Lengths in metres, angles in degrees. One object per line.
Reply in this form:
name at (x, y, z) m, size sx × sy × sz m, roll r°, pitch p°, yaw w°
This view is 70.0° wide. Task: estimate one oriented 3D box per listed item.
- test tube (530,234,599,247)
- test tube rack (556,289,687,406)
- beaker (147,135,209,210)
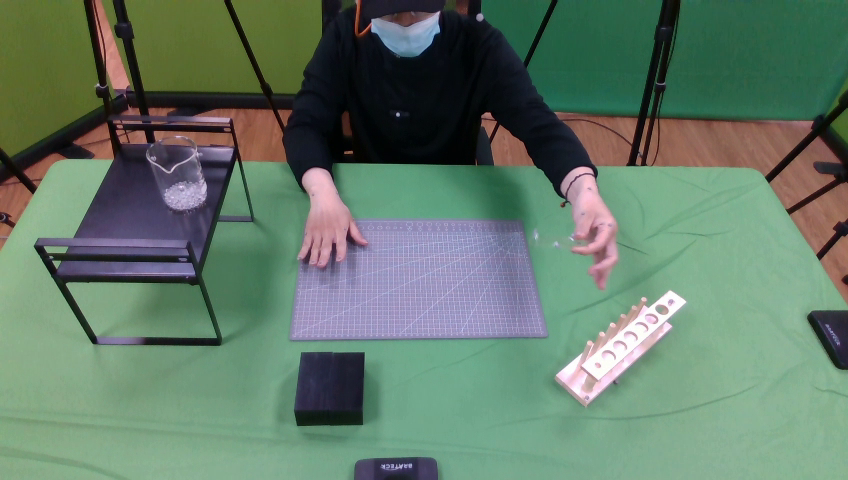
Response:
test tube at (0.210, 0.002, 0.895) m, size 0.151 × 0.017 × 0.017 m, roll 2°, pitch 40°, yaw -39°
test tube rack at (0.332, 0.165, 1.014) m, size 0.242 × 0.085 × 0.066 m, roll -30°, pitch 55°, yaw -28°
beaker at (-0.387, -0.102, 0.961) m, size 0.074 × 0.101 × 0.083 m, roll -5°, pitch 47°, yaw -7°
